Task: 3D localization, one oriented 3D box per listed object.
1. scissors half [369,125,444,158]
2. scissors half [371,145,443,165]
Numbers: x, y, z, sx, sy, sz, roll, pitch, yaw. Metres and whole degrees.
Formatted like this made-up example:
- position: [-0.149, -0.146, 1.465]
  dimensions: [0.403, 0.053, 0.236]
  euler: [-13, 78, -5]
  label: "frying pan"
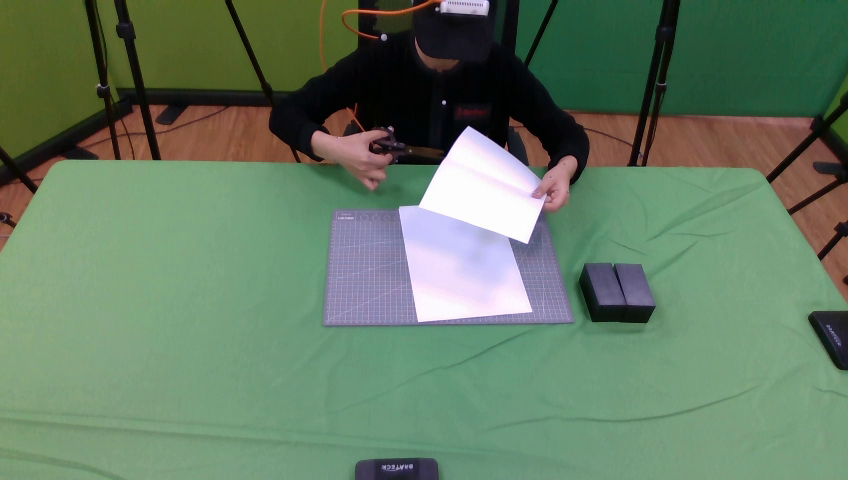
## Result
- position: [-0.037, -0.196, 1.225]
  dimensions: [0.174, 0.040, 0.013]
  euler: [24, 42, 18]
  label: "scissors half"
- position: [-0.035, -0.177, 1.236]
  dimensions: [0.175, 0.040, 0.013]
  euler: [-2, 25, 34]
  label: "scissors half"
